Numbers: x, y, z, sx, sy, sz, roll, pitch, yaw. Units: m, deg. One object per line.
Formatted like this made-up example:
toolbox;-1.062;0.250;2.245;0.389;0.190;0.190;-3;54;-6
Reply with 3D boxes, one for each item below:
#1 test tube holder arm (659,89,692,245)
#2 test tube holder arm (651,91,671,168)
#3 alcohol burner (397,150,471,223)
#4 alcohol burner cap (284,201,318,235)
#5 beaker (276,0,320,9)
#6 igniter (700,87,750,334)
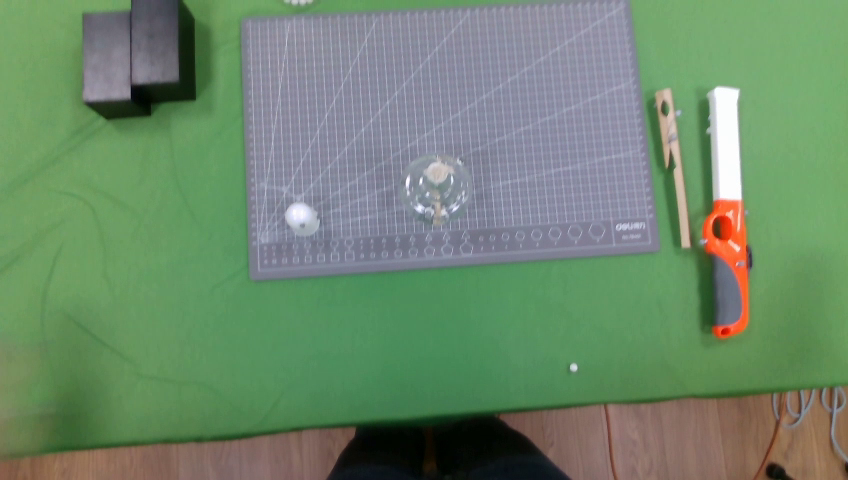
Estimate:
test tube holder arm;0.281;-0.082;0.679;0.013;0.015;0.178;-12;81;31
test tube holder arm;0.271;-0.126;0.688;0.010;0.015;0.087;-12;81;31
alcohol burner;0.011;-0.059;0.618;0.078;0.119;0.077;0;79;-2
alcohol burner cap;-0.132;-0.025;0.644;0.034;0.048;0.033;0;81;-2
beaker;-0.143;-0.309;0.660;0.084;0.100;0.074;-39;84;-7
igniter;0.332;-0.035;0.671;0.057;0.025;0.275;4;81;-11
